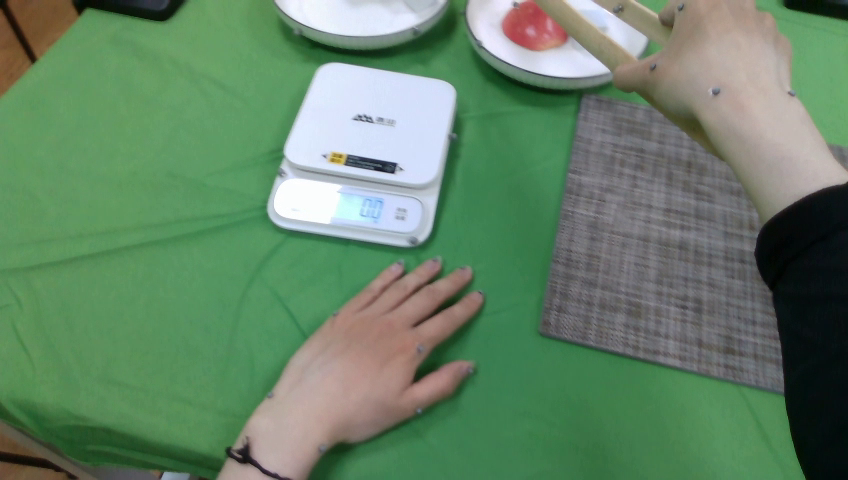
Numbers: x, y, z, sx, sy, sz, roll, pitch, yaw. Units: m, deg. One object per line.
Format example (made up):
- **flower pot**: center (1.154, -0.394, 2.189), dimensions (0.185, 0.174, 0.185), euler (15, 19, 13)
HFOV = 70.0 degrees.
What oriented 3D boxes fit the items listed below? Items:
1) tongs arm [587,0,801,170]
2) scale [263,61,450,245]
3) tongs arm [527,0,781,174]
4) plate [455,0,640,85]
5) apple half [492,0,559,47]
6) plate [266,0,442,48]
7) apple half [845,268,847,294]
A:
- **tongs arm**: center (0.168, -0.184, 0.521), dimensions (0.051, 0.027, 0.380), euler (-24, 50, -13)
- **scale**: center (-0.059, -0.090, 0.580), dimensions (0.148, 0.032, 0.199), euler (9, 56, 3)
- **tongs arm**: center (0.147, -0.176, 0.517), dimensions (0.028, 0.028, 0.383), euler (-19, 49, -13)
- **plate**: center (0.139, -0.245, 0.694), dimensions (0.209, 0.038, 0.207), euler (2, 55, -2)
- **apple half**: center (0.121, -0.258, 0.695), dimensions (0.081, 0.033, 0.080), euler (1, 53, 0)
- **plate**: center (-0.081, -0.291, 0.712), dimensions (0.208, 0.039, 0.205), euler (2, 56, -2)
- **apple half**: center (0.379, 0.036, 0.490), dimensions (0.053, 0.075, 0.080), euler (-20, 62, -11)
